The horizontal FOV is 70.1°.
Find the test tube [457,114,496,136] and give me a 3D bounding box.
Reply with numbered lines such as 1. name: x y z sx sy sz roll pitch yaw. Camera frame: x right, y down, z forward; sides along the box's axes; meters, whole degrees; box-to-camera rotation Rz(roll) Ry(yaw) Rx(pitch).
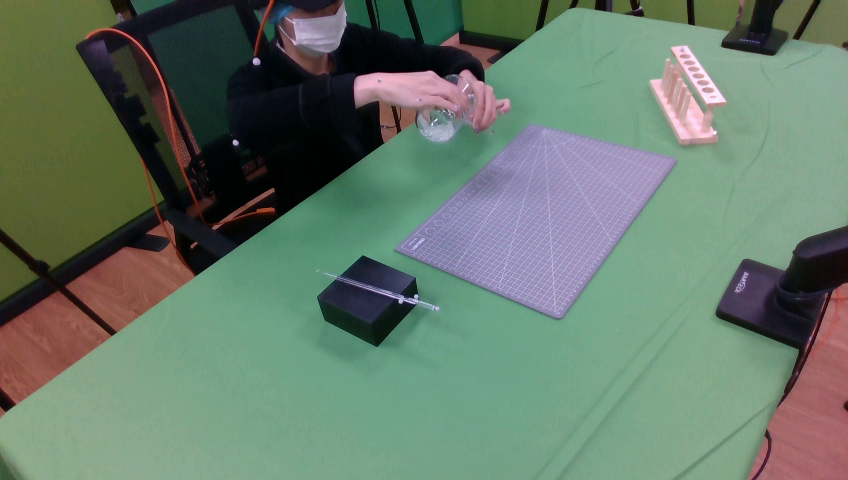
1. test tube: 0.096 -0.206 1.090 0.017 0.017 0.151 17 8 27

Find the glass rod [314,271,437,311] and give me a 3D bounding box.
1. glass rod: -0.071 0.069 0.837 0.198 0.008 0.008 14 44 24

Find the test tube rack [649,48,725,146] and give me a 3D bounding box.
1. test tube rack: 0.508 -0.285 1.186 0.067 0.085 0.241 -4 40 6

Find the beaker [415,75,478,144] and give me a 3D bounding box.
1. beaker: 0.035 -0.205 0.971 0.073 0.084 0.100 9 44 27
